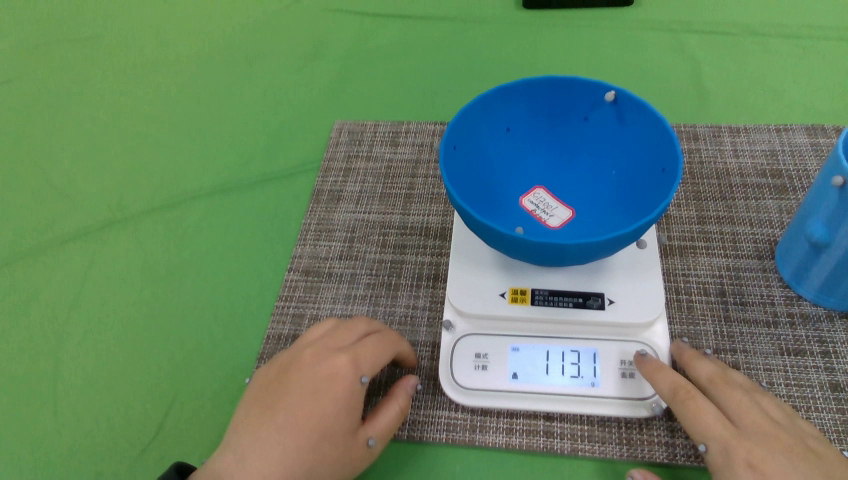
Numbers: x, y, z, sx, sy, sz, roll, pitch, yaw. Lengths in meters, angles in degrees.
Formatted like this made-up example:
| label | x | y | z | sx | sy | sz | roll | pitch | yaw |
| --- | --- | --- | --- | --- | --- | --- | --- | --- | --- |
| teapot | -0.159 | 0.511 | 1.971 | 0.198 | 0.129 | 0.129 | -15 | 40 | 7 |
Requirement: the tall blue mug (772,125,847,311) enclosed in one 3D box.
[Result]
| label | x | y | z | sx | sy | sz | roll | pitch | yaw |
| --- | --- | --- | --- | --- | --- | --- | --- | --- | --- |
| tall blue mug | 0.293 | -0.005 | 0.381 | 0.078 | 0.109 | 0.106 | -39 | 58 | -22 |

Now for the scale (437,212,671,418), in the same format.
| label | x | y | z | sx | sy | sz | roll | pitch | yaw |
| --- | --- | --- | --- | --- | --- | --- | --- | --- | --- |
| scale | 0.090 | 0.023 | 0.432 | 0.148 | 0.032 | 0.199 | 2 | 53 | 8 |

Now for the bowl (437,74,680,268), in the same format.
| label | x | y | z | sx | sy | sz | roll | pitch | yaw |
| --- | --- | --- | --- | --- | --- | --- | --- | --- | --- |
| bowl | 0.085 | -0.034 | 0.409 | 0.151 | 0.077 | 0.150 | -3 | 53 | 4 |
